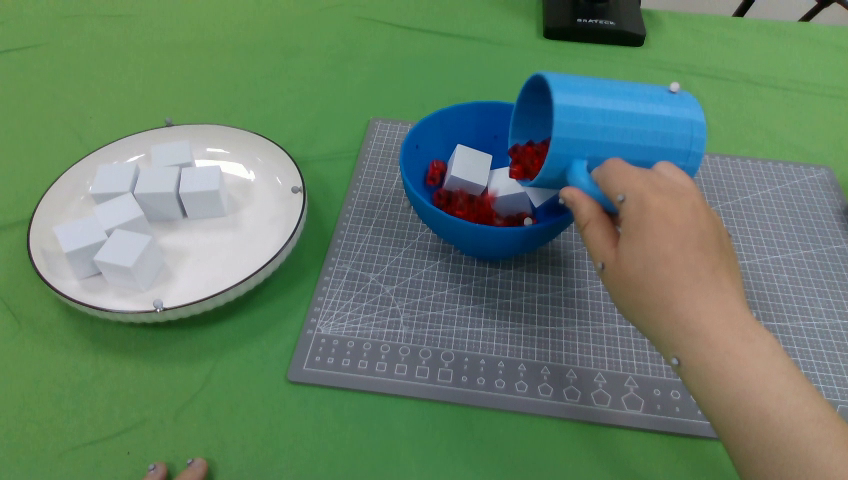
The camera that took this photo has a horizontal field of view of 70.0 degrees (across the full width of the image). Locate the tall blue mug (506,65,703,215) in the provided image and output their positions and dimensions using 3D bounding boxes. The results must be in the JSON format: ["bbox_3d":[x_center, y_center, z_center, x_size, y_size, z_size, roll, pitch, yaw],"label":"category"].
[{"bbox_3d":[0.124,-0.067,0.402,0.108,0.078,0.106,5,17,-16],"label":"tall blue mug"}]

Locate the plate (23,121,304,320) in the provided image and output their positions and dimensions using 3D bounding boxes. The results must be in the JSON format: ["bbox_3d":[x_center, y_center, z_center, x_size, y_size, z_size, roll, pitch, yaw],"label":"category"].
[{"bbox_3d":[-0.201,-0.019,0.487,0.209,0.038,0.207,2,49,-2],"label":"plate"}]

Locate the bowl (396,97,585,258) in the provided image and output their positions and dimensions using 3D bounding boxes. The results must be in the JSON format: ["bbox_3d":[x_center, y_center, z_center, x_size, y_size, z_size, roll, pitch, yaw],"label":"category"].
[{"bbox_3d":[0.053,-0.039,0.487,0.151,0.077,0.150,2,49,-1],"label":"bowl"}]
